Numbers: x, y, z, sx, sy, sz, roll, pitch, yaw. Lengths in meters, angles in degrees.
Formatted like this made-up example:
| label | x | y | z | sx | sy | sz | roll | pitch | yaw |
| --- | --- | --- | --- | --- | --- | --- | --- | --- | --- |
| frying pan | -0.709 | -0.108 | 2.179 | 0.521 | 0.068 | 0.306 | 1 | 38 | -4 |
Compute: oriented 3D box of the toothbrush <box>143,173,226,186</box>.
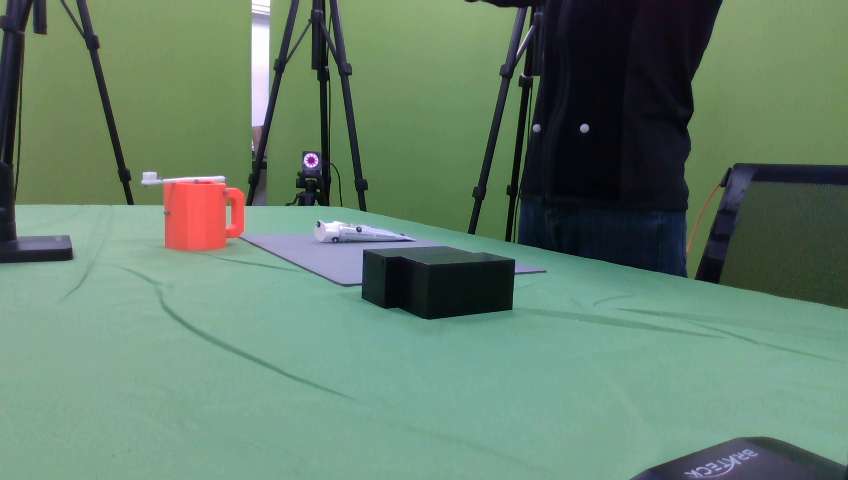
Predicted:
| label | x | y | z | sx | sy | sz | roll | pitch | yaw |
| --- | --- | --- | --- | --- | --- | --- | --- | --- | --- |
| toothbrush | -0.342 | -0.089 | 0.878 | 0.014 | 0.016 | 0.182 | 1 | 7 | 15 |

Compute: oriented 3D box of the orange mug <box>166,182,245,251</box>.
| label | x | y | z | sx | sy | sz | roll | pitch | yaw |
| --- | --- | --- | --- | --- | --- | --- | --- | --- | --- |
| orange mug | -0.326 | -0.040 | 0.911 | 0.083 | 0.101 | 0.127 | 8 | 14 | 37 |

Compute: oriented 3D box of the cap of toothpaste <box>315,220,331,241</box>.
| label | x | y | z | sx | sy | sz | roll | pitch | yaw |
| --- | --- | --- | --- | --- | --- | --- | --- | --- | --- |
| cap of toothpaste | -0.164 | -0.016 | 0.982 | 0.011 | 0.037 | 0.037 | -8 | 12 | -43 |

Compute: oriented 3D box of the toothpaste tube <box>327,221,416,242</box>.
| label | x | y | z | sx | sy | sz | roll | pitch | yaw |
| --- | --- | --- | --- | --- | --- | --- | --- | --- | --- |
| toothpaste tube | -0.095 | -0.012 | 1.026 | 0.166 | 0.034 | 0.055 | 2 | 13 | -33 |
